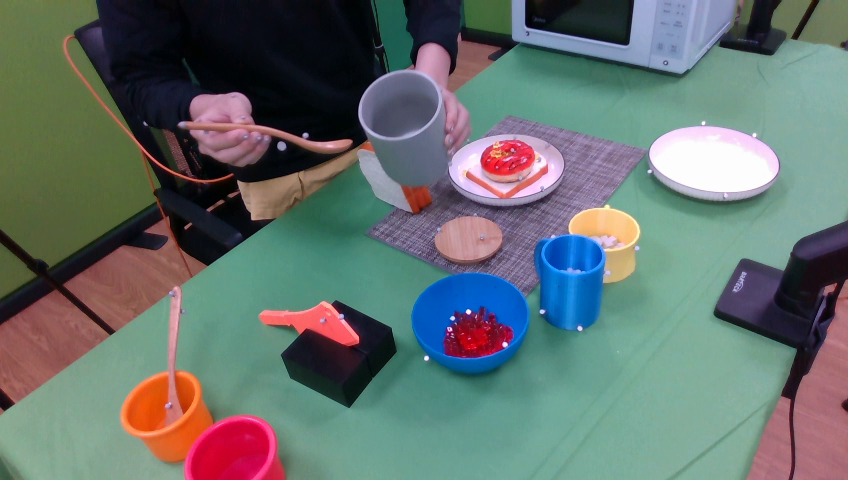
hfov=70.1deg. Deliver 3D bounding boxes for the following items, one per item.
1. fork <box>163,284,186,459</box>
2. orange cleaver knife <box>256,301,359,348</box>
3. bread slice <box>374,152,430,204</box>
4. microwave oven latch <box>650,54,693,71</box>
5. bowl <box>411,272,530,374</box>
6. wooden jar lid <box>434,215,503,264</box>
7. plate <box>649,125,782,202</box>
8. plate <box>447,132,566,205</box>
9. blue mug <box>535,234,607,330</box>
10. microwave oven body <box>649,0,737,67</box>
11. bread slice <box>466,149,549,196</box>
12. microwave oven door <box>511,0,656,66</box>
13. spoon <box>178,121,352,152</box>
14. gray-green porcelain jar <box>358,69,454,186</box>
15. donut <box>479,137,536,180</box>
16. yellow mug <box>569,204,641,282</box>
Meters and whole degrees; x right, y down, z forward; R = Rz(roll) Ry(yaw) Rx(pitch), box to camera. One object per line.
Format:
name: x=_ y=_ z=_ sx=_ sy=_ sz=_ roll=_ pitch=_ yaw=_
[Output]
fork: x=-0.302 y=0.157 z=0.733 sx=0.028 sy=0.019 sz=0.207 roll=-3 pitch=84 yaw=14
orange cleaver knife: x=-0.160 y=0.115 z=0.813 sx=0.210 sy=0.077 sz=0.012 roll=-9 pitch=29 yaw=48
bread slice: x=-0.043 y=-0.126 z=1.038 sx=0.106 sy=0.135 sz=0.018 roll=30 pitch=61 yaw=33
microwave oven latch: x=0.531 y=-0.386 z=1.301 sx=0.078 sy=0.029 sz=0.030 roll=26 pitch=51 yaw=33
bowl: x=0.061 y=0.120 z=0.780 sx=0.151 sy=0.077 sz=0.150 roll=-4 pitch=40 yaw=4
wooden jar lid: x=0.071 y=0.001 z=0.956 sx=0.108 sy=0.021 sz=0.108 roll=-4 pitch=40 yaw=4
plate: x=0.493 y=-0.127 z=1.036 sx=0.207 sy=0.039 sz=0.206 roll=-4 pitch=41 yaw=4
plate: x=0.146 y=-0.124 z=1.076 sx=0.209 sy=0.038 sz=0.208 roll=-4 pitch=41 yaw=4
blue mug: x=0.190 y=0.048 z=0.824 sx=0.082 sy=0.106 sz=0.115 roll=-26 pitch=44 yaw=-21
microwave oven body: x=0.475 y=-0.602 z=1.411 sx=0.438 sy=0.261 sz=0.327 roll=23 pitch=50 yaw=32
bread slice: x=0.156 y=-0.128 z=1.085 sx=0.132 sy=0.019 sz=0.104 roll=-34 pitch=48 yaw=-23
microwave oven door: x=0.351 y=-0.539 z=1.348 sx=0.353 sy=0.245 sz=0.039 roll=24 pitch=50 yaw=31
spoon: x=-0.175 y=-0.121 z=0.687 sx=0.195 sy=0.021 sz=0.041 roll=6 pitch=17 yaw=-29
gray-green porcelain jar: x=-0.018 y=-0.139 z=0.785 sx=0.105 sy=0.127 sz=0.105 roll=-4 pitch=64 yaw=9
donut: x=0.145 y=-0.144 z=1.056 sx=0.099 sy=0.048 sz=0.098 roll=-6 pitch=42 yaw=6
yellow mug: x=0.268 y=-0.005 z=0.904 sx=0.099 sy=0.064 sz=0.130 roll=7 pitch=41 yaw=15
